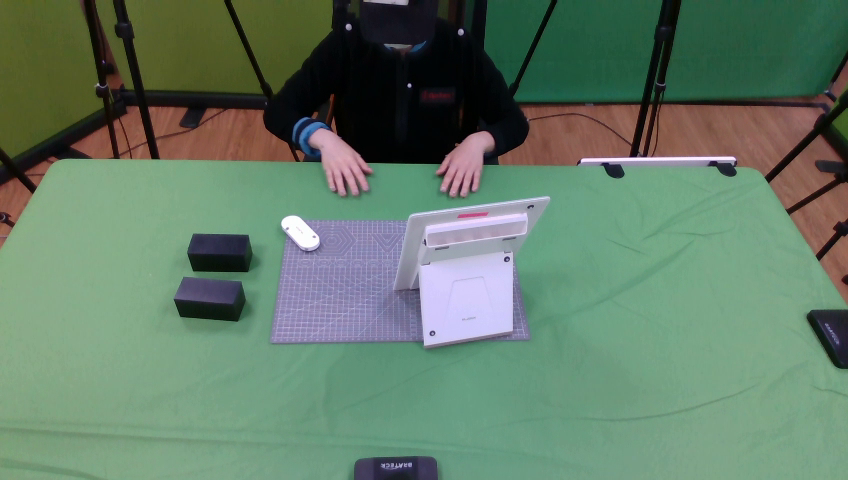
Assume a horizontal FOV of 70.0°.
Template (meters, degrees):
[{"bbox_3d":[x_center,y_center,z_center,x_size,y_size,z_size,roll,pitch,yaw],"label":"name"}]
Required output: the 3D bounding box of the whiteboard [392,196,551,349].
[{"bbox_3d":[0.077,0.071,0.977,0.217,0.306,0.143,-7,67,-11],"label":"whiteboard"}]

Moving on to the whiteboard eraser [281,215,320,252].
[{"bbox_3d":[-0.243,-0.015,1.191,0.041,0.019,0.100,-30,56,-28],"label":"whiteboard eraser"}]
